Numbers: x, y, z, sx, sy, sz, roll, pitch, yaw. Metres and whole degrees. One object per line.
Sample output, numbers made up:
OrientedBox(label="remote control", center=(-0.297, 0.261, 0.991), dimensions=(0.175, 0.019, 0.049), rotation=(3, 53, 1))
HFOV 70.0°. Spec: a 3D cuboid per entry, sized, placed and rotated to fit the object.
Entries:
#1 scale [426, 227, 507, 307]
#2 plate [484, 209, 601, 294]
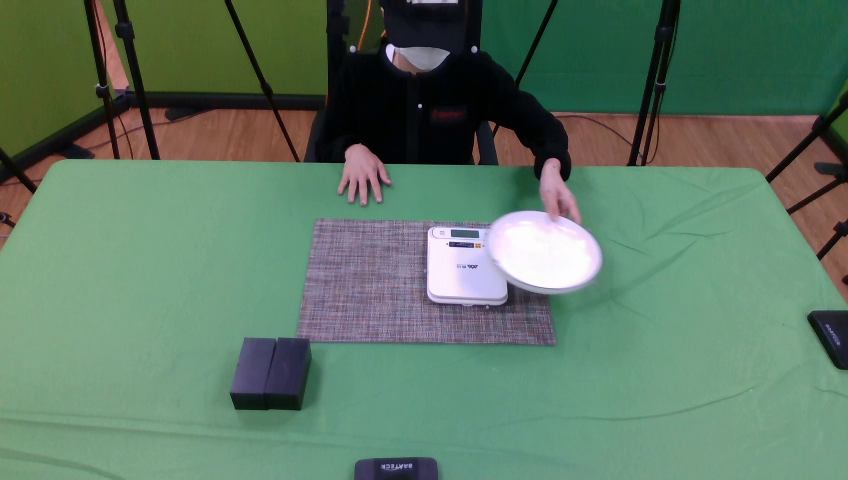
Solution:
OrientedBox(label="scale", center=(0.078, 0.043, 1.152), dimensions=(0.149, 0.032, 0.199), rotation=(3, 45, -2))
OrientedBox(label="plate", center=(0.207, 0.023, 1.080), dimensions=(0.208, 0.039, 0.206), rotation=(4, 41, -3))
